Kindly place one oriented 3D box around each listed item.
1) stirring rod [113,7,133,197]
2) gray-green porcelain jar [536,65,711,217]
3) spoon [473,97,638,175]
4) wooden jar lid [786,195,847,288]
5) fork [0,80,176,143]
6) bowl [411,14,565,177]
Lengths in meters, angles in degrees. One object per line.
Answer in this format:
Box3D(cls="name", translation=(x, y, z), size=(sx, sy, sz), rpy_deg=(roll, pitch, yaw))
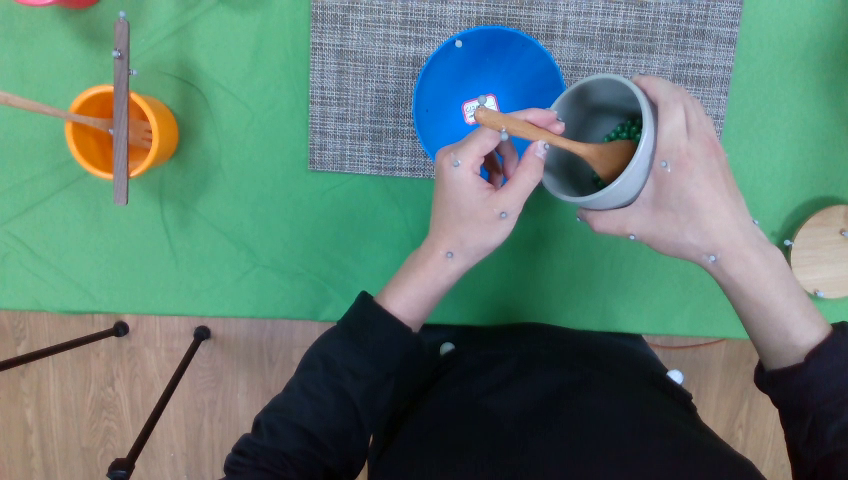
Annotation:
Box3D(cls="stirring rod", translation=(-0.287, -0.129, 0.578), size=(0.014, 0.006, 0.176), rpy_deg=(5, 104, -1))
Box3D(cls="gray-green porcelain jar", translation=(0.177, -0.079, 0.525), size=(0.127, 0.104, 0.106), rpy_deg=(12, 106, -40))
Box3D(cls="spoon", translation=(0.109, -0.081, 0.470), size=(0.195, 0.021, 0.042), rpy_deg=(8, 115, -35))
Box3D(cls="wooden jar lid", translation=(0.465, 0.002, 0.691), size=(0.108, 0.020, 0.109), rpy_deg=(0, 104, 0))
Box3D(cls="fork", translation=(-0.341, -0.129, 0.579), size=(0.209, 0.018, 0.028), rpy_deg=(11, 110, -48))
Box3D(cls="bowl", translation=(0.062, -0.143, 0.615), size=(0.151, 0.076, 0.152), rpy_deg=(0, 103, -1))
